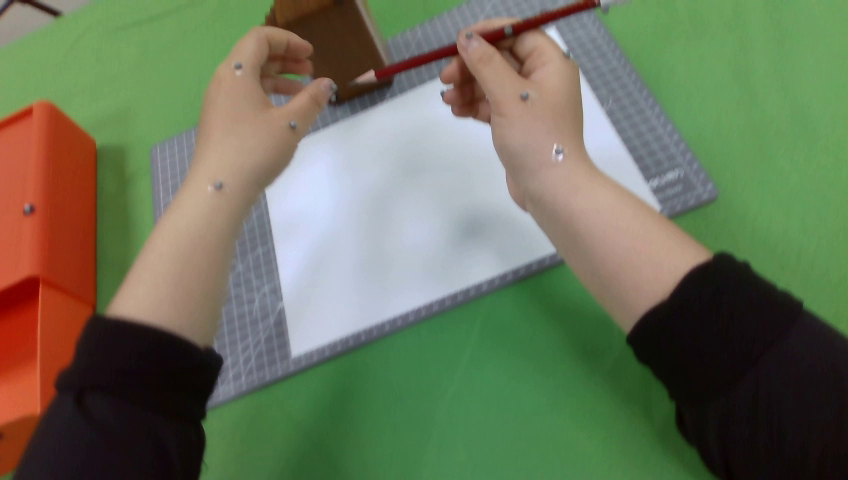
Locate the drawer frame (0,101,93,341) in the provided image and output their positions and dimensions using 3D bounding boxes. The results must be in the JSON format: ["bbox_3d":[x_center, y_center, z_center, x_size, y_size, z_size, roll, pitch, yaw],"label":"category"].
[{"bbox_3d":[-0.422,0.001,0.575,0.201,0.083,0.211,-24,57,5],"label":"drawer frame"}]

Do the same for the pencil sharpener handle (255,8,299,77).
[{"bbox_3d":[-0.137,-0.173,0.545,0.030,0.068,0.035,-21,64,7],"label":"pencil sharpener handle"}]

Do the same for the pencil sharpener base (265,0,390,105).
[{"bbox_3d":[-0.086,-0.185,0.548,0.076,0.108,0.060,-21,58,7],"label":"pencil sharpener base"}]

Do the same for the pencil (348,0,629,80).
[{"bbox_3d":[0.041,-0.131,0.386,0.194,0.012,0.012,-14,59,10],"label":"pencil"}]

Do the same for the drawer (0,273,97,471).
[{"bbox_3d":[-0.386,0.095,0.515,0.194,0.074,0.209,-24,57,5],"label":"drawer"}]
